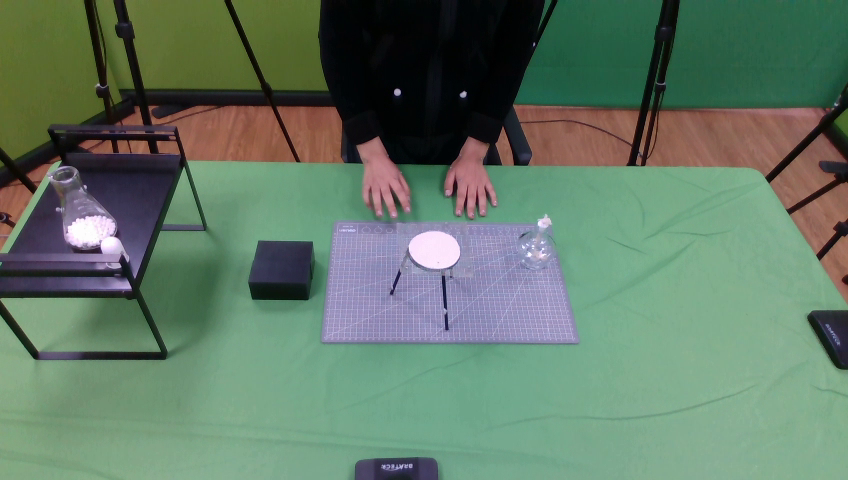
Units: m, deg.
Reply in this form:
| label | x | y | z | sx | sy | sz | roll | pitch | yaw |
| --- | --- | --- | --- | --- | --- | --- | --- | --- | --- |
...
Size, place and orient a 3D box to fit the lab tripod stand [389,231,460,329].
| label | x | y | z | sx | sy | sz | roll | pitch | yaw |
| --- | --- | --- | --- | --- | --- | --- | --- | --- | --- |
| lab tripod stand | 0.015 | 0.063 | 1.058 | 0.148 | 0.132 | 0.147 | 4 | 46 | -4 |

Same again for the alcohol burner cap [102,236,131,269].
| label | x | y | z | sx | sy | sz | roll | pitch | yaw |
| --- | --- | --- | --- | --- | --- | --- | --- | --- | --- |
| alcohol burner cap | -0.451 | 0.016 | 0.883 | 0.034 | 0.048 | 0.033 | 3 | 44 | -3 |

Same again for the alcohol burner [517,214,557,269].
| label | x | y | z | sx | sy | sz | roll | pitch | yaw |
| --- | --- | --- | --- | --- | --- | --- | --- | --- | --- |
| alcohol burner | 0.217 | -0.002 | 1.149 | 0.078 | 0.120 | 0.077 | 2 | 44 | -2 |

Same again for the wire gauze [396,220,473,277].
| label | x | y | z | sx | sy | sz | roll | pitch | yaw |
| --- | --- | --- | --- | --- | --- | --- | --- | --- | --- |
| wire gauze | 0.016 | 0.012 | 1.013 | 0.125 | 0.011 | 0.120 | 1 | 47 | -5 |

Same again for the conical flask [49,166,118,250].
| label | x | y | z | sx | sy | sz | roll | pitch | yaw |
| --- | --- | --- | --- | --- | --- | --- | --- | --- | --- |
| conical flask | -0.505 | -0.051 | 0.888 | 0.075 | 0.122 | 0.075 | 2 | 45 | -2 |
